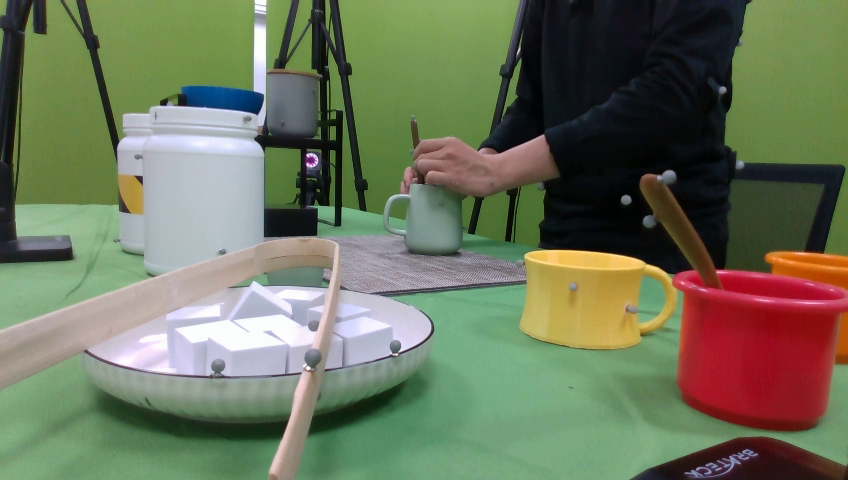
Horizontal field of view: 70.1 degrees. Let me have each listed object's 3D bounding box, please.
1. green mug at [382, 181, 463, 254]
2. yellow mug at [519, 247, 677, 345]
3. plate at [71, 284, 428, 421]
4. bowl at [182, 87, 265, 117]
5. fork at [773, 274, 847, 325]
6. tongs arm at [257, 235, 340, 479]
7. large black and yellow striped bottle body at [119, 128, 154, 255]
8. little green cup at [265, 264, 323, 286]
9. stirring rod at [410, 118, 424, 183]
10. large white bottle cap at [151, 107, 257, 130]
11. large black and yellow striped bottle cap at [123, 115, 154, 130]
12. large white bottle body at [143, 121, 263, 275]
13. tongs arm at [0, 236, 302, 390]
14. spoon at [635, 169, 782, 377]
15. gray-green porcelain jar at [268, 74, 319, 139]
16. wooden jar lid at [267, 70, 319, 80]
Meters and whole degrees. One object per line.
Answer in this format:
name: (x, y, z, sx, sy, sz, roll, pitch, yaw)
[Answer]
green mug: (-0.001, -0.036, 0.922, 0.126, 0.105, 0.092, 0, 8, -16)
yellow mug: (0.148, 0.045, 0.513, 0.131, 0.064, 0.100, 3, 6, 0)
plate: (-0.102, 0.067, 0.381, 0.208, 0.039, 0.207, 3, 7, 0)
bowl: (-0.383, -0.243, 1.158, 0.151, 0.077, 0.151, 2, 7, 0)
fork: (0.332, 0.018, 0.443, 0.028, 0.018, 0.207, -1, -36, -14)
tongs arm: (-0.074, 0.040, 0.345, 0.051, 0.026, 0.384, -1, 9, -3)
large black and yellow striped bottle body: (-0.355, -0.076, 0.850, 0.131, 0.184, 0.130, 2, 8, 0)
little green cup: (-0.134, 0.033, 0.628, 0.061, 0.038, 0.061, 3, 7, 0)
stirring rod: (-0.007, -0.099, 0.929, 0.006, 0.176, 0.014, -17, 19, -31)
large white bottle cap: (-0.250, -0.138, 0.692, 0.115, 0.018, 0.115, 3, 7, 0)
large black and yellow striped bottle cap: (-0.353, -0.159, 0.838, 0.115, 0.019, 0.115, 2, 6, 0)
large white bottle body: (-0.254, -0.054, 0.702, 0.131, 0.184, 0.130, 2, 8, 0)
tongs arm: (-0.157, 0.037, 0.347, 0.028, 0.028, 0.388, -2, 8, 11)
spoon: (0.161, 0.026, 0.346, 0.021, 0.194, 0.041, -51, 32, -19)
gray-green porcelain jar: (-0.277, -0.279, 1.280, 0.106, 0.126, 0.106, 2, 8, 0)
wooden jar lid: (-0.275, -0.339, 1.271, 0.108, 0.020, 0.108, 5, 6, 0)
